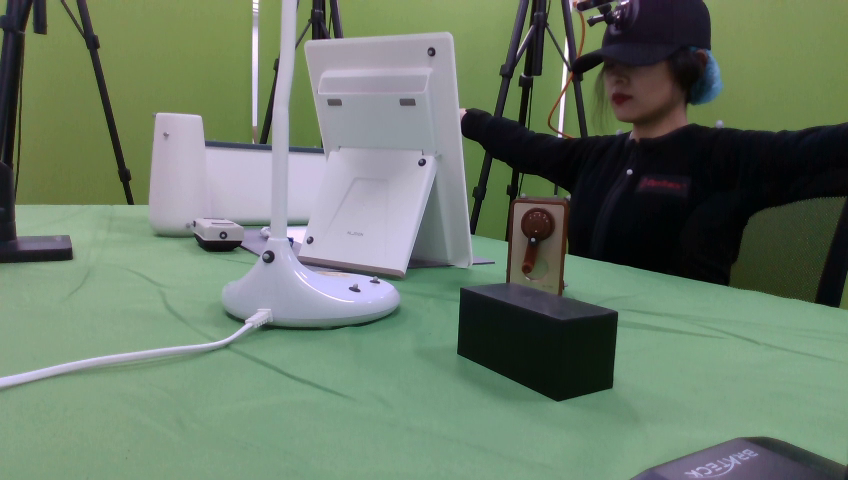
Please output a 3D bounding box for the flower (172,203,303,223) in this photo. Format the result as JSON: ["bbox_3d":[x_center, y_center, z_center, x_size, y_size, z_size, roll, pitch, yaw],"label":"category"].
[{"bbox_3d":[-0.382,-0.061,1.308,0.044,0.038,0.363,2,4,29],"label":"flower"}]

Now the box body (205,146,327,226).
[{"bbox_3d":[-0.363,-0.123,1.293,0.366,0.160,0.253,-2,9,-32],"label":"box body"}]

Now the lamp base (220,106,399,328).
[{"bbox_3d":[-0.101,-0.023,0.531,0.160,0.180,0.179,4,10,10],"label":"lamp base"}]

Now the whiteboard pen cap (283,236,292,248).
[{"bbox_3d":[-0.211,0.003,0.913,0.018,0.018,0.033,-2,6,-28],"label":"whiteboard pen cap"}]

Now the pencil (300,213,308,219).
[{"bbox_3d":[-0.266,-0.055,1.351,0.012,0.012,0.193,1,4,-8],"label":"pencil"}]

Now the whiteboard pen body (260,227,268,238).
[{"bbox_3d":[-0.239,-0.005,0.964,0.017,0.017,0.140,-2,9,-28],"label":"whiteboard pen body"}]

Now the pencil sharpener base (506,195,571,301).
[{"bbox_3d":[0.126,0.007,0.662,0.061,0.107,0.077,4,8,13],"label":"pencil sharpener base"}]

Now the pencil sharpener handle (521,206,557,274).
[{"bbox_3d":[0.112,0.000,0.611,0.036,0.067,0.031,13,10,11],"label":"pencil sharpener handle"}]

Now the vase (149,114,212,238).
[{"bbox_3d":[-0.405,-0.106,1.005,0.098,0.200,0.098,2,6,0],"label":"vase"}]

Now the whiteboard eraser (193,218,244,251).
[{"bbox_3d":[-0.307,-0.010,0.900,0.056,0.042,0.112,-4,10,-28],"label":"whiteboard eraser"}]

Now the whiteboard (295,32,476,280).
[{"bbox_3d":[-0.076,-0.084,0.747,0.216,0.305,0.144,7,28,29],"label":"whiteboard"}]

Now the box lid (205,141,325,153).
[{"bbox_3d":[-0.357,-0.196,1.284,0.373,0.015,0.262,-2,9,-32],"label":"box lid"}]
